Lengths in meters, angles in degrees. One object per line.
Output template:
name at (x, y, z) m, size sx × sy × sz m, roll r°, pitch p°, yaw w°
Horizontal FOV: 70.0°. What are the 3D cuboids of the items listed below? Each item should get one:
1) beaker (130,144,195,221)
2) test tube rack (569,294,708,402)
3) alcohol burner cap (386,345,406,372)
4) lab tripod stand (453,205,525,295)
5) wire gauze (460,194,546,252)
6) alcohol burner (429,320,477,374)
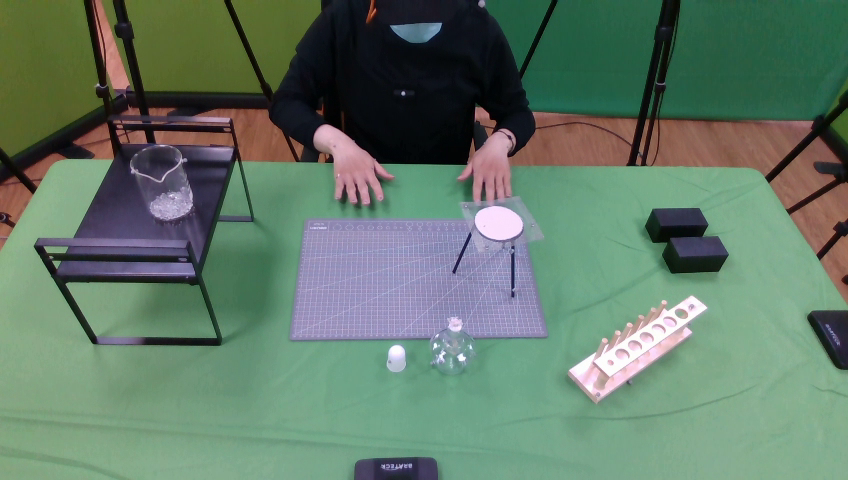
beaker at (-0.403, -0.085, 0.944) m, size 0.074 × 0.101 × 0.083 m, roll -15°, pitch 50°, yaw -17°
test tube rack at (0.360, 0.167, 1.014) m, size 0.242 × 0.085 × 0.066 m, roll -25°, pitch 53°, yaw -25°
alcohol burner cap at (-0.046, 0.192, 0.995) m, size 0.034 × 0.048 × 0.033 m, roll 3°, pitch 46°, yaw -3°
lab tripod stand at (0.131, 0.010, 1.111) m, size 0.148 × 0.132 × 0.147 m, roll 1°, pitch 45°, yaw -1°
wire gauze at (0.136, -0.035, 1.061) m, size 0.121 × 0.011 × 0.124 m, roll -9°, pitch 47°, yaw -12°
alcohol burner at (0.048, 0.164, 0.977) m, size 0.078 × 0.120 × 0.077 m, roll 2°, pitch 48°, yaw -2°
